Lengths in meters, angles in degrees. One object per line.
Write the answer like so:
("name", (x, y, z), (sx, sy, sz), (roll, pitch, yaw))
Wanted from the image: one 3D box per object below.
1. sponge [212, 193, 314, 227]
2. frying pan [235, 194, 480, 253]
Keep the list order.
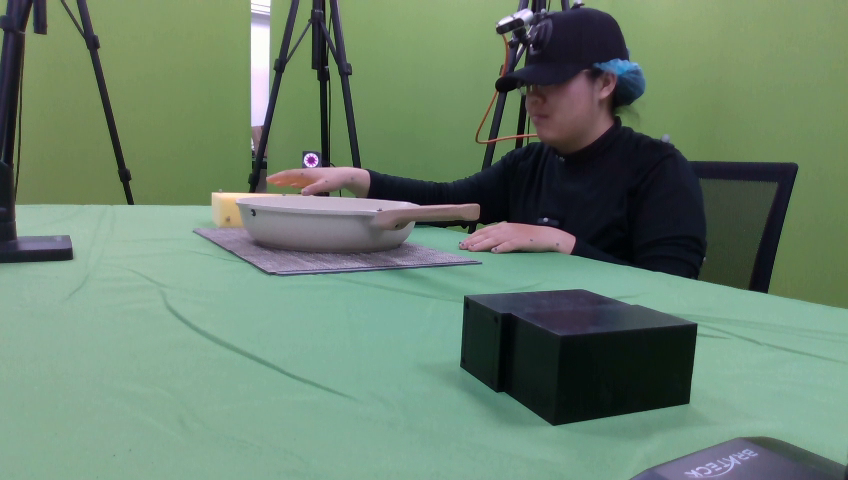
("sponge", (-0.317, -0.062, 1.233), (0.208, 0.061, 0.117), (-2, 8, -27))
("frying pan", (-0.089, -0.034, 0.891), (0.308, 0.102, 0.485), (-4, 2, -36))
